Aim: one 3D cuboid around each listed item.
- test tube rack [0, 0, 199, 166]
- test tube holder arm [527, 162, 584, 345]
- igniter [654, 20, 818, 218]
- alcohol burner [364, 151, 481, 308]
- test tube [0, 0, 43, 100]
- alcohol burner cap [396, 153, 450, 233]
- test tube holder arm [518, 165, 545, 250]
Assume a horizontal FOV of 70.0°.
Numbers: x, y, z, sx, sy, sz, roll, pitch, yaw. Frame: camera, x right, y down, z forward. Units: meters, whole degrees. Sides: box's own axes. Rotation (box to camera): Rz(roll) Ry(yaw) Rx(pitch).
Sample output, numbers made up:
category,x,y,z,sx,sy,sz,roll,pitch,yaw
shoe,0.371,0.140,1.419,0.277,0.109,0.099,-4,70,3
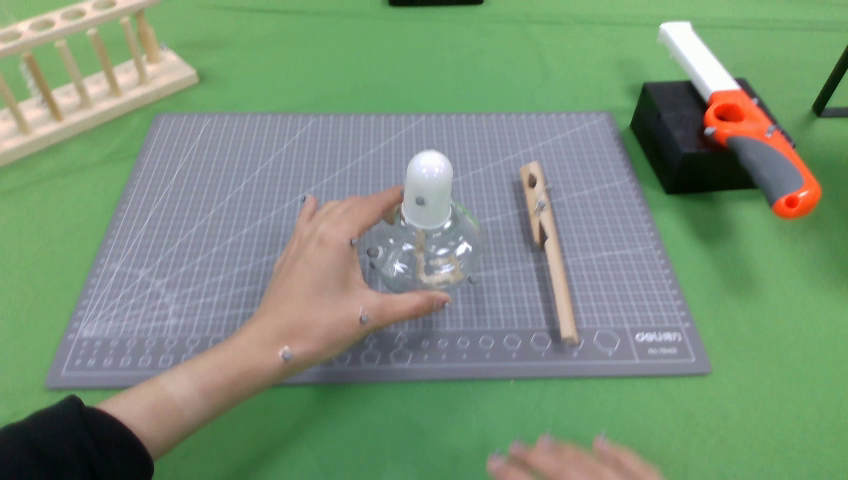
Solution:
category,x,y,z,sx,sy,sz,roll,pitch,yaw
test tube rack,-0.344,-0.151,0.560,0.242,0.086,0.066,-34,58,-28
test tube holder arm,0.101,0.003,0.479,0.013,0.015,0.176,-27,45,23
igniter,0.262,-0.118,0.527,0.057,0.025,0.273,-5,47,-2
alcohol burner,0.000,-0.010,0.390,0.078,0.120,0.077,2,50,-2
test tube,-0.363,-0.188,0.527,0.017,0.151,0.017,2,46,-2
alcohol burner cap,0.000,-0.031,0.367,0.034,0.048,0.033,3,49,-3
test tube holder arm,0.093,-0.029,0.510,0.010,0.015,0.087,-26,46,24
